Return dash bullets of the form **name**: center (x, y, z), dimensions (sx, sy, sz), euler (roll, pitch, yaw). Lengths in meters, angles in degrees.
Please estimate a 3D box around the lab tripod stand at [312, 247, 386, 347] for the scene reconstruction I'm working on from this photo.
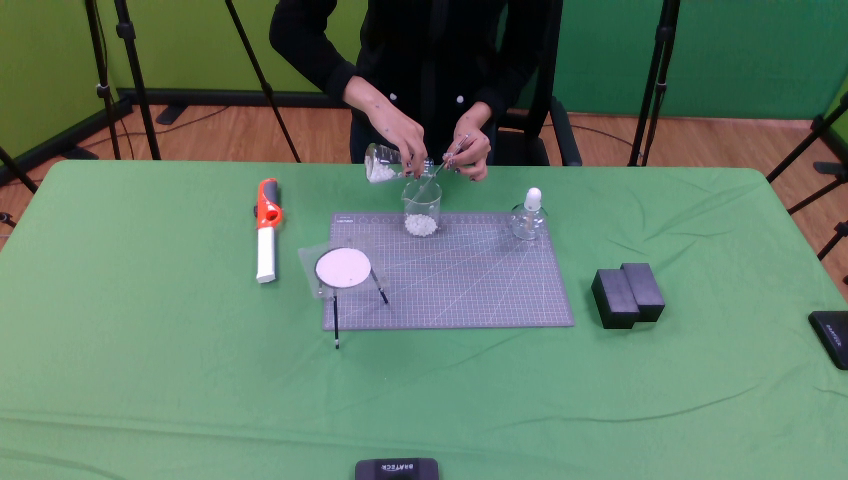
- **lab tripod stand**: center (-0.134, 0.085, 1.028), dimensions (0.148, 0.132, 0.147), euler (2, 45, -1)

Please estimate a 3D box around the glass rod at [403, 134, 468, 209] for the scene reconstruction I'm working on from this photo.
- **glass rod**: center (0.019, -0.126, 1.138), dimensions (0.008, 0.200, 0.008), euler (30, 32, -21)

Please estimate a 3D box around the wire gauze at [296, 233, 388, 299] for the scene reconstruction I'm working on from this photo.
- **wire gauze**: center (-0.133, 0.041, 0.977), dimensions (0.125, 0.011, 0.120), euler (-12, 47, -16)

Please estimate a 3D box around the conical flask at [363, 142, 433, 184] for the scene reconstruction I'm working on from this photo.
- **conical flask**: center (-0.046, -0.137, 1.107), dimensions (0.122, 0.075, 0.075), euler (2, 45, -20)

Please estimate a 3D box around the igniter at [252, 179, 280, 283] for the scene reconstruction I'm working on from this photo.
- **igniter**: center (-0.313, -0.027, 1.197), dimensions (0.057, 0.025, 0.274), euler (-12, 47, -1)

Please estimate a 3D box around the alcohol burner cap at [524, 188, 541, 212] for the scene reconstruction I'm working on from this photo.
- **alcohol burner cap**: center (0.212, -0.081, 1.177), dimensions (0.034, 0.048, 0.033), euler (-2, 54, 2)

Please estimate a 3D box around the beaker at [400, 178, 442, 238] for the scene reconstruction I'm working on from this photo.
- **beaker**: center (-0.009, -0.059, 1.200), dimensions (0.084, 0.101, 0.073), euler (-14, 48, -17)

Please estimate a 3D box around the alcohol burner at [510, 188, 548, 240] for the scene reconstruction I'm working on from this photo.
- **alcohol burner**: center (0.211, -0.057, 1.204), dimensions (0.078, 0.120, 0.077), euler (1, 47, -1)
